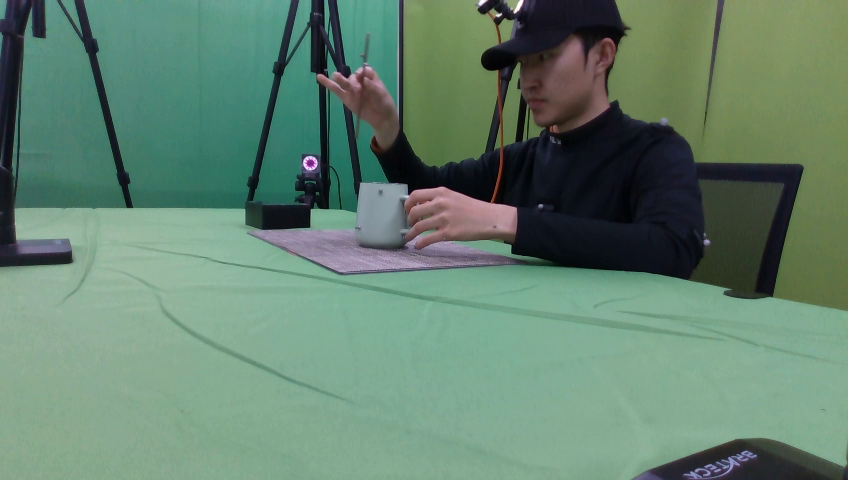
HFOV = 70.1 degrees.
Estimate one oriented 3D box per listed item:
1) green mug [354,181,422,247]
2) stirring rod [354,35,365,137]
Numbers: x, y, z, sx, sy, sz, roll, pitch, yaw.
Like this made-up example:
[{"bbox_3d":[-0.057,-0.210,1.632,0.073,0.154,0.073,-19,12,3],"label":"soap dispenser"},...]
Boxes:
[{"bbox_3d":[-0.055,-0.042,0.988,0.125,0.105,0.093,7,8,36],"label":"green mug"},{"bbox_3d":[-0.115,-0.272,1.073,0.006,0.176,0.014,4,14,-13],"label":"stirring rod"}]
